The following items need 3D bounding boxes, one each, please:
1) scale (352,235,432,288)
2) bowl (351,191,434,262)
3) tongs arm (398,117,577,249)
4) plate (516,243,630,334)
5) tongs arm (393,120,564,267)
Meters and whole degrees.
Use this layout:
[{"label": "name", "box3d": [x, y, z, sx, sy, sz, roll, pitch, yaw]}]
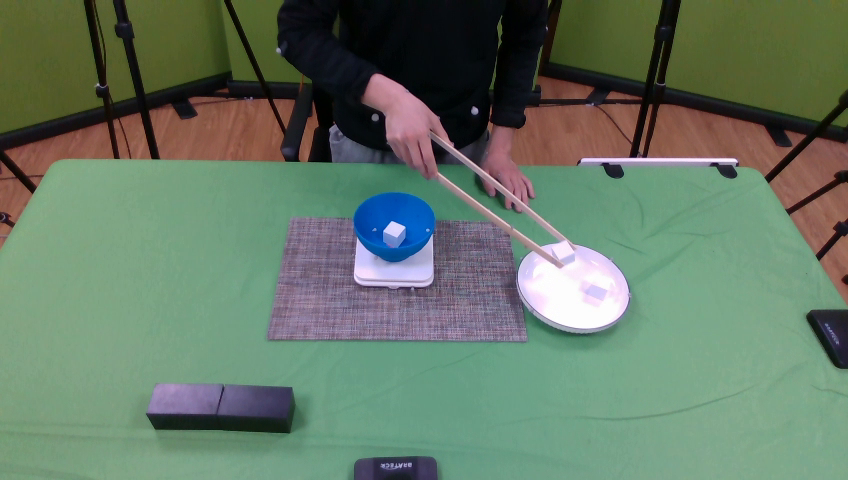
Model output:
[{"label": "scale", "box3d": [-0.060, 0.010, 1.171, 0.149, 0.032, 0.199, 2, 46, -3]}, {"label": "bowl", "box3d": [-0.058, -0.013, 1.120, 0.151, 0.077, 0.150, 1, 46, -1]}, {"label": "tongs arm", "box3d": [0.114, -0.103, 1.084, 0.387, 0.028, 0.028, 37, 78, 1]}, {"label": "plate", "box3d": [0.272, 0.092, 1.120, 0.208, 0.039, 0.206, 2, 46, -2]}, {"label": "tongs arm", "box3d": [0.097, -0.082, 1.076, 0.385, 0.026, 0.050, 35, 75, 0]}]
